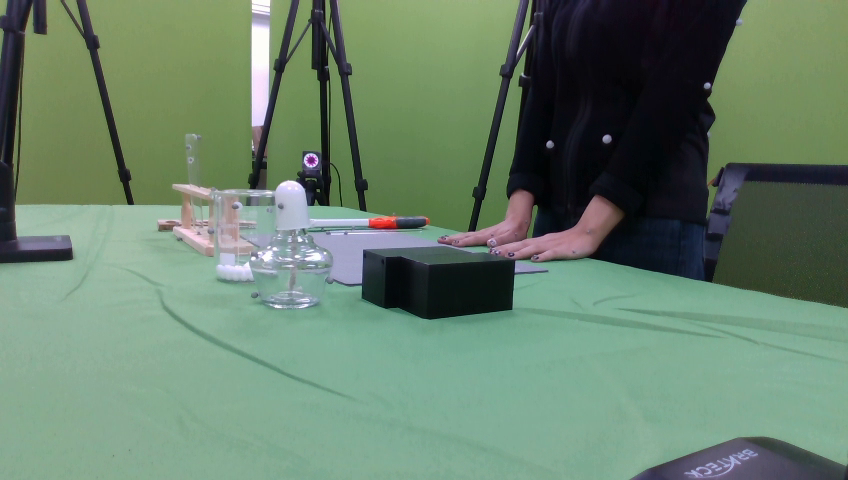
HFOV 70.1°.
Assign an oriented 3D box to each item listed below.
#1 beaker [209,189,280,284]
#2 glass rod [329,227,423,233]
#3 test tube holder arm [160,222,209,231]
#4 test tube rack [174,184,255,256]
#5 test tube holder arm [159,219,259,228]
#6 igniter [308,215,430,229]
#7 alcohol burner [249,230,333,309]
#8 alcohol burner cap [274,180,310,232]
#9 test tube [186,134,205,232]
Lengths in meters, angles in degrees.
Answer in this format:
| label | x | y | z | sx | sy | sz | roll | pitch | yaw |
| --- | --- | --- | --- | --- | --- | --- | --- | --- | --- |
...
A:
| label | x | y | z | sx | sy | sz | roll | pitch | yaw |
| --- | --- | --- | --- | --- | --- | --- | --- | --- | --- |
| beaker | -0.200 | -0.006 | 0.677 | 0.084 | 0.100 | 0.074 | 3 | 7 | 8 |
| glass rod | -0.087 | -0.019 | 1.148 | 0.201 | 0.008 | 0.008 | -3 | 8 | -32 |
| test tube holder arm | -0.423 | -0.024 | 1.075 | 0.088 | 0.015 | 0.010 | -3 | 44 | -38 |
| test tube rack | -0.327 | -0.036 | 0.928 | 0.067 | 0.085 | 0.241 | -2 | 9 | -32 |
| test tube holder arm | -0.390 | -0.030 | 1.107 | 0.179 | 0.015 | 0.013 | -3 | 44 | -39 |
| igniter | -0.109 | -0.037 | 1.228 | 0.278 | 0.025 | 0.057 | -3 | -1 | -35 |
| alcohol burner | -0.125 | 0.004 | 0.568 | 0.078 | 0.119 | 0.078 | 2 | 9 | 0 |
| alcohol burner cap | -0.125 | -0.032 | 0.564 | 0.034 | 0.048 | 0.034 | -5 | 6 | 1 |
| test tube | -0.350 | -0.087 | 0.929 | 0.017 | 0.150 | 0.017 | -3 | 5 | 1 |
